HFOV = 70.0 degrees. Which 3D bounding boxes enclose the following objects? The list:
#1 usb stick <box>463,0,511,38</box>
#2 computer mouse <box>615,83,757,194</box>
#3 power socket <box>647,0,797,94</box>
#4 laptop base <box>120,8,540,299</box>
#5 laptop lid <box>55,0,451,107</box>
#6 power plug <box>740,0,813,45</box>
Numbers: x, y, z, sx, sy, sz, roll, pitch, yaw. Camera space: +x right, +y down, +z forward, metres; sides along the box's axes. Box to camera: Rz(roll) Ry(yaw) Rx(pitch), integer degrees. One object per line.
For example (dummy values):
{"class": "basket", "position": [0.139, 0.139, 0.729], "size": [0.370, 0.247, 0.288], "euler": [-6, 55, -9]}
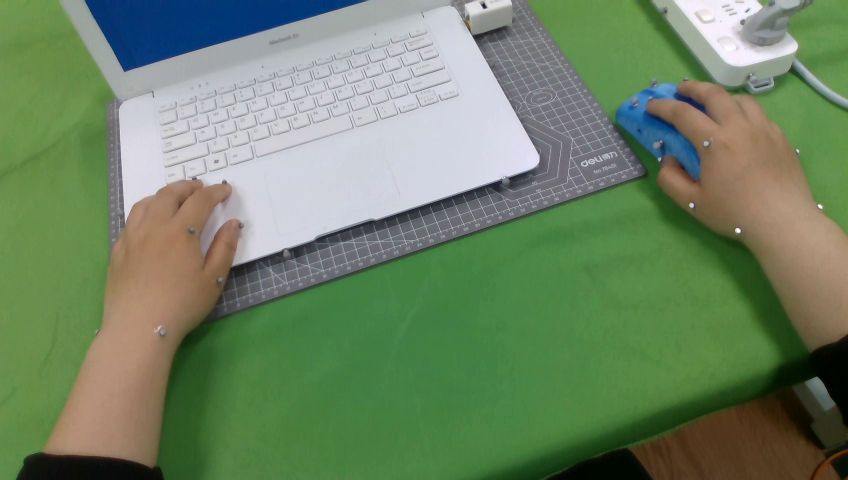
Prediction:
{"class": "usb stick", "position": [0.057, -0.223, 0.610], "size": [0.059, 0.027, 0.021], "euler": [-19, 57, -1]}
{"class": "computer mouse", "position": [0.217, -0.092, 0.508], "size": [0.063, 0.041, 0.116], "euler": [-28, 54, -8]}
{"class": "power socket", "position": [0.273, -0.229, 0.592], "size": [0.072, 0.033, 0.224], "euler": [-15, 56, -2]}
{"class": "laptop base", "position": [-0.099, -0.094, 0.561], "size": [0.354, 0.023, 0.233], "euler": [-19, 59, -5]}
{"class": "laptop lid", "position": [-0.158, -0.268, 0.544], "size": [0.357, 0.244, 0.013], "euler": [-20, 43, -4]}
{"class": "power plug", "position": [0.319, -0.190, 0.534], "size": [0.072, 0.053, 0.035], "euler": [-7, 58, 4]}
